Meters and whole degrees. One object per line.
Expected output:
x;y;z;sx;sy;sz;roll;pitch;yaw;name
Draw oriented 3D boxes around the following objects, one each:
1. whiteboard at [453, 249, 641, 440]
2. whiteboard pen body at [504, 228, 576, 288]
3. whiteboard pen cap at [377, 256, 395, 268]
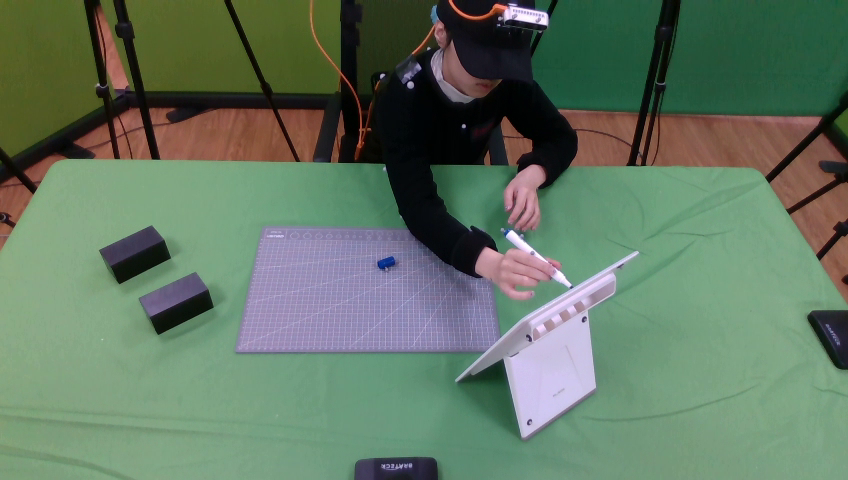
0.206;0.175;0.889;0.217;0.306;0.143;-25;72;-25;whiteboard
0.182;0.029;0.943;0.140;0.017;0.017;41;56;14;whiteboard pen body
-0.072;0.042;1.149;0.033;0.018;0.018;-19;50;-16;whiteboard pen cap
